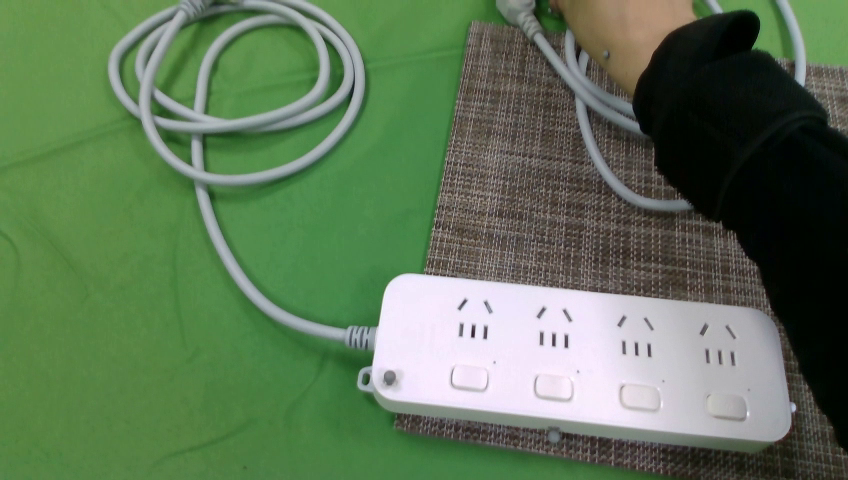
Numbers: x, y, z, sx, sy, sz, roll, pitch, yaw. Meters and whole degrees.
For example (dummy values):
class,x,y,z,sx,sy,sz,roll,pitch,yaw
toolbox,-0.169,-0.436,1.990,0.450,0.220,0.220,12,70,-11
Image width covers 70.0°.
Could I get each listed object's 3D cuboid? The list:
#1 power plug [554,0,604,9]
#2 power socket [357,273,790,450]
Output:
class,x,y,z,sx,sy,sz,roll,pitch,yaw
power plug,0.103,-0.192,0.463,0.072,0.035,0.052,38,42,0
power socket,0.078,0.063,0.322,0.226,0.033,0.071,5,62,3
